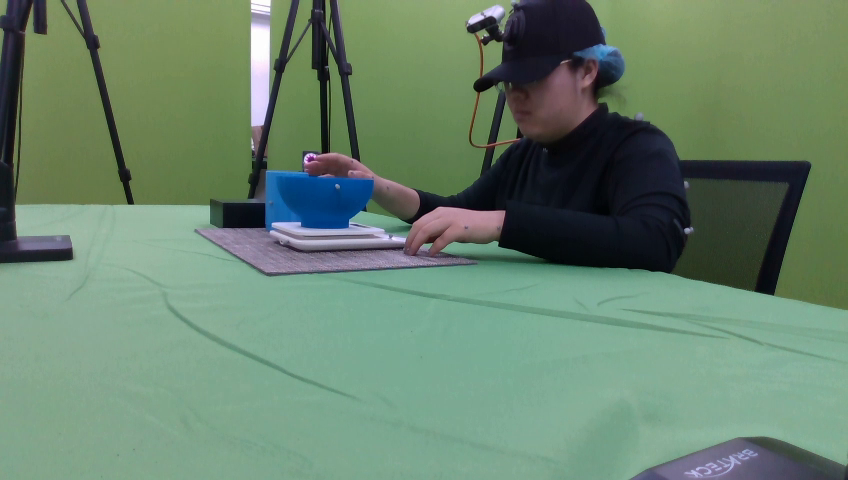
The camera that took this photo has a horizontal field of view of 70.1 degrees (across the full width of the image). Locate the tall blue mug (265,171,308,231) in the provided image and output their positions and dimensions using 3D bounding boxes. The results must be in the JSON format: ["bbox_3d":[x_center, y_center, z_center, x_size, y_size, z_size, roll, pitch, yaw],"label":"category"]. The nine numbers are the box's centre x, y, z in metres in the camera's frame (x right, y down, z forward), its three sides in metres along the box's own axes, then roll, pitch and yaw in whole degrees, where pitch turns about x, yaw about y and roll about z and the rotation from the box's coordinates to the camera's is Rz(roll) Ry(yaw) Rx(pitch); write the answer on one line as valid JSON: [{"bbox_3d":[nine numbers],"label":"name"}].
[{"bbox_3d":[-0.248,-0.073,1.121,0.078,0.108,0.107,3,8,8],"label":"tall blue mug"}]

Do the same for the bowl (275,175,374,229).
[{"bbox_3d":[-0.153,-0.059,0.933,0.151,0.077,0.151,2,7,0],"label":"bowl"}]

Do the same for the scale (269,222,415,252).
[{"bbox_3d":[-0.130,-0.008,0.958,0.202,0.031,0.148,-1,9,-32],"label":"scale"}]
